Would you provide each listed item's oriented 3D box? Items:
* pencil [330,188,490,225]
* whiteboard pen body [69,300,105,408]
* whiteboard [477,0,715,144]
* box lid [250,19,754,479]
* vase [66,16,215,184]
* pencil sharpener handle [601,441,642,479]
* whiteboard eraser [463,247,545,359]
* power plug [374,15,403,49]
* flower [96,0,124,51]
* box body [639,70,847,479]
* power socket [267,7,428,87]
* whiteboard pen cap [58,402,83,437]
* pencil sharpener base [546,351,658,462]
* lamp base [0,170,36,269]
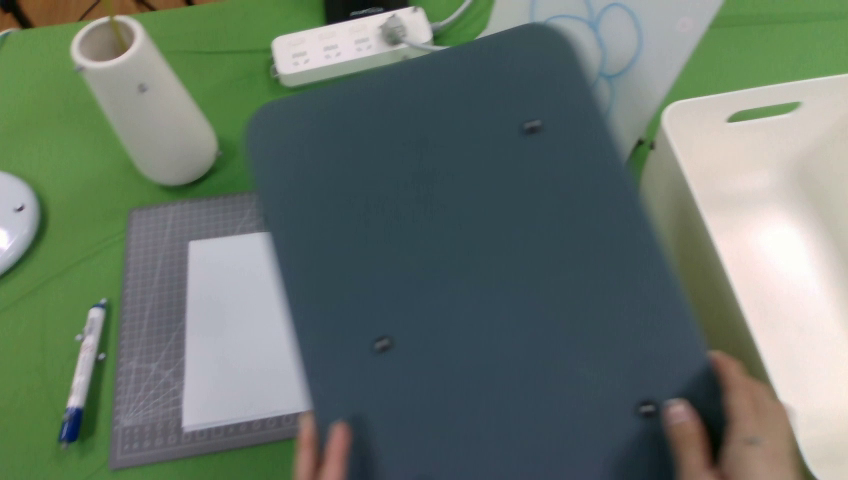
[{"bbox_3d":[-0.017,-0.038,0.712,0.194,0.012,0.012,12,64,6],"label":"pencil"},{"bbox_3d":[-0.352,0.127,0.631,0.017,0.017,0.139,-6,59,-1],"label":"whiteboard pen body"},{"bbox_3d":[0.188,-0.214,0.666,0.144,0.307,0.215,-31,64,-34],"label":"whiteboard"},{"bbox_3d":[0.038,0.032,0.413,0.263,0.015,0.369,-16,77,0],"label":"box lid"},{"bbox_3d":[-0.309,-0.147,0.673,0.098,0.201,0.097,-1,62,3],"label":"vase"},{"bbox_3d":[0.174,0.194,0.520,0.036,0.068,0.030,-19,63,5],"label":"pencil sharpener handle"},{"bbox_3d":[0.083,0.065,0.637,0.055,0.042,0.111,-14,63,-7],"label":"whiteboard eraser"},{"bbox_3d":[-0.046,-0.261,0.790,0.035,0.053,0.072,-6,64,0],"label":"power plug"},{"bbox_3d":[-0.309,-0.202,0.609,0.038,0.365,0.043,-20,45,-16],"label":"flower"},{"bbox_3d":[0.374,0.038,0.576,0.254,0.161,0.360,-10,63,-3],"label":"box body"},{"bbox_3d":[-0.102,-0.261,0.818,0.227,0.033,0.071,-14,64,-6],"label":"power socket"},{"bbox_3d":[-0.350,0.178,0.601,0.018,0.018,0.033,-5,57,0],"label":"whiteboard pen cap"},{"bbox_3d":[0.159,0.158,0.553,0.061,0.108,0.076,-14,63,-6],"label":"pencil sharpener base"},{"bbox_3d":[-0.552,-0.056,0.644,0.178,0.182,0.160,20,65,15],"label":"lamp base"}]
